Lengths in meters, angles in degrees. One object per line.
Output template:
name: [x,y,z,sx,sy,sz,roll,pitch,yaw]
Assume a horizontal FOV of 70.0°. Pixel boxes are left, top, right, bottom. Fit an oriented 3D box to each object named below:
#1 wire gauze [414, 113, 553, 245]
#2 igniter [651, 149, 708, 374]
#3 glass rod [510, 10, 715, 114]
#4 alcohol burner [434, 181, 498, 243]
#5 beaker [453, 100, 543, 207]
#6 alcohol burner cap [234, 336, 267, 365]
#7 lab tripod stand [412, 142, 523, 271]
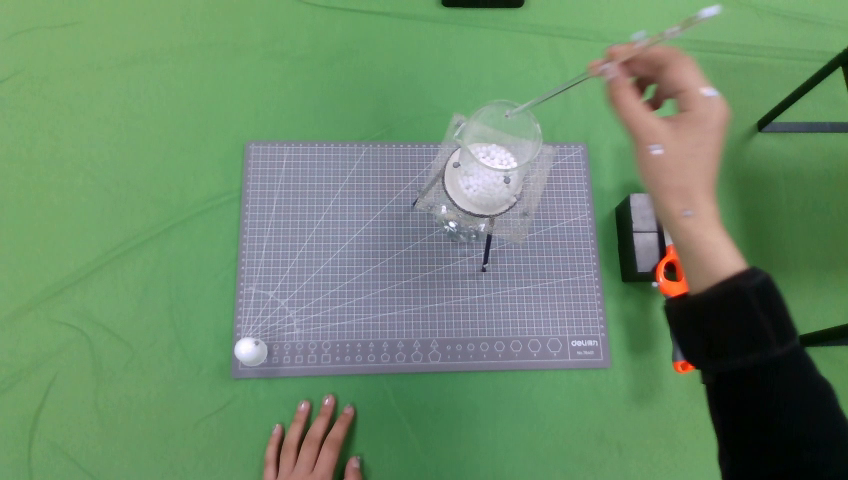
wire gauze: [0.067,-0.066,0.649,0.121,0.011,0.124,22,70,0]
igniter: [0.300,0.019,0.720,0.057,0.025,0.275,1,72,-1]
glass rod: [0.128,-0.127,0.455,0.008,0.199,0.008,4,81,-29]
alcohol burner: [0.052,-0.038,0.718,0.078,0.119,0.077,1,75,-3]
beaker: [0.066,-0.080,0.602,0.084,0.101,0.073,-1,72,-3]
alcohol burner cap: [-0.199,0.124,0.688,0.034,0.048,0.033,1,73,-5]
lab tripod stand: [0.060,-0.050,0.712,0.148,0.132,0.147,1,71,-4]
